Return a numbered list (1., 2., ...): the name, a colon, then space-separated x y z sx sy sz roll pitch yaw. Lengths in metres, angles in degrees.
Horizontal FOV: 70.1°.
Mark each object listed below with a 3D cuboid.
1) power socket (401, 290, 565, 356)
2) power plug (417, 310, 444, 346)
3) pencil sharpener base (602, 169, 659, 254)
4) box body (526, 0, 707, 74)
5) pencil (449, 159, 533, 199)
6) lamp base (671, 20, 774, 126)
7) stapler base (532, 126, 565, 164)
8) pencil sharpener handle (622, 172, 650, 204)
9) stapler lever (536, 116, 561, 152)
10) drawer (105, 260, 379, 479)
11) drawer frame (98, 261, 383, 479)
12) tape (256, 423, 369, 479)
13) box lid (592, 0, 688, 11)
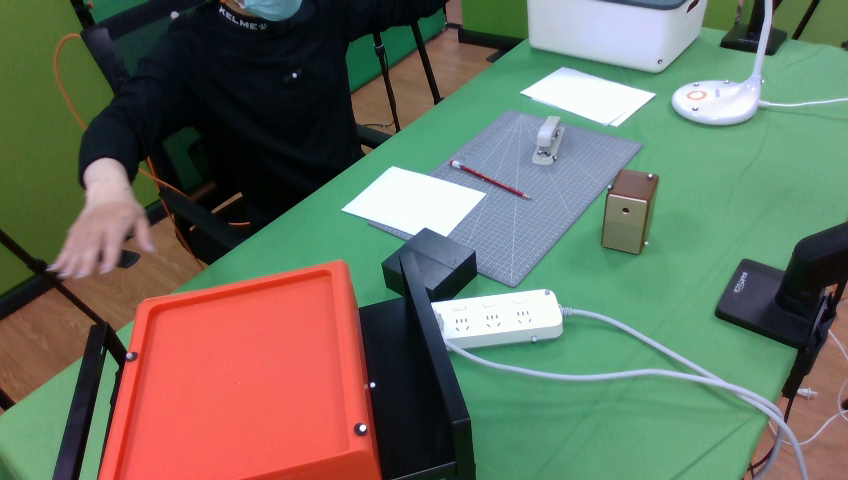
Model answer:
1. power socket: 0.080 0.112 0.822 0.227 0.033 0.072 -6 41 0
2. power plug: 0.006 0.122 0.785 0.035 0.053 0.072 -1 40 8
3. pencil sharpener base: 0.312 -0.044 0.913 0.061 0.107 0.077 14 45 24
4. box body: 0.450 -0.540 1.430 0.361 0.161 0.255 24 50 31
5. pencil: 0.118 -0.110 1.091 0.192 0.012 0.012 30 53 34
6. lamp base: 0.581 -0.332 1.154 0.179 0.181 0.160 2 41 7
7. stapler base: 0.238 -0.189 1.155 0.041 0.024 0.130 10 42 18
8. pencil sharpener handle: 0.328 -0.086 0.940 0.036 0.068 0.030 30 49 8
9. stapler lever: 0.236 -0.209 1.140 0.026 0.040 0.118 10 43 18
10. drawer: -0.150 0.127 0.525 0.195 0.073 0.210 -11 41 -5
11. drawer frame: -0.148 0.129 0.519 0.202 0.083 0.212 -12 41 -6
12. tape: -0.121 0.262 0.660 0.117 0.053 0.116 -4 40 4
13. box lid: 0.441 -0.596 1.383 0.368 0.015 0.264 24 49 31
